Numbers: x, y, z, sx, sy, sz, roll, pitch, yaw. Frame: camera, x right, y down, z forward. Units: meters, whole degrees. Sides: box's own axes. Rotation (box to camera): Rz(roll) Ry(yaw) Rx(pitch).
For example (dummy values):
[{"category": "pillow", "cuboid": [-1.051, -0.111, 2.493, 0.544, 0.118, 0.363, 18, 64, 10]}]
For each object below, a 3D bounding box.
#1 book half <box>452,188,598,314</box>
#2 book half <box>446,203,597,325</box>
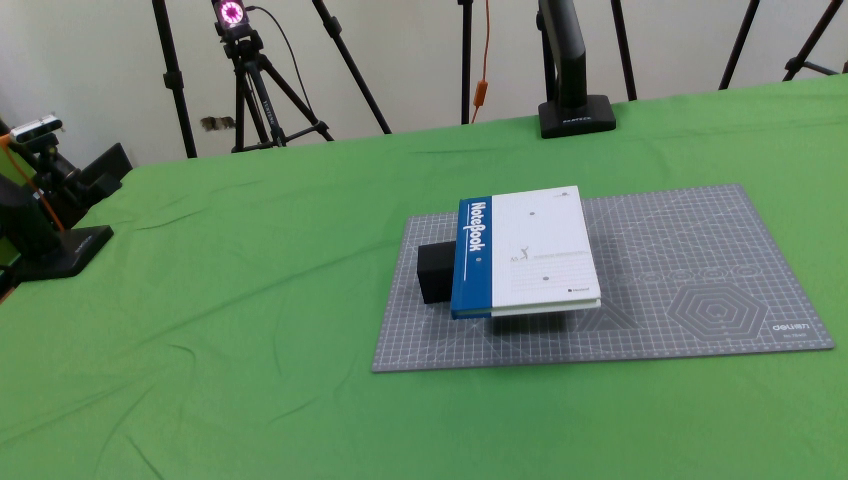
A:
[{"category": "book half", "cuboid": [0.106, 0.005, 0.671, 0.143, 0.007, 0.208, -6, 34, 10]}, {"category": "book half", "cuboid": [0.104, 0.012, 0.676, 0.148, 0.016, 0.208, -6, 35, 11]}]
